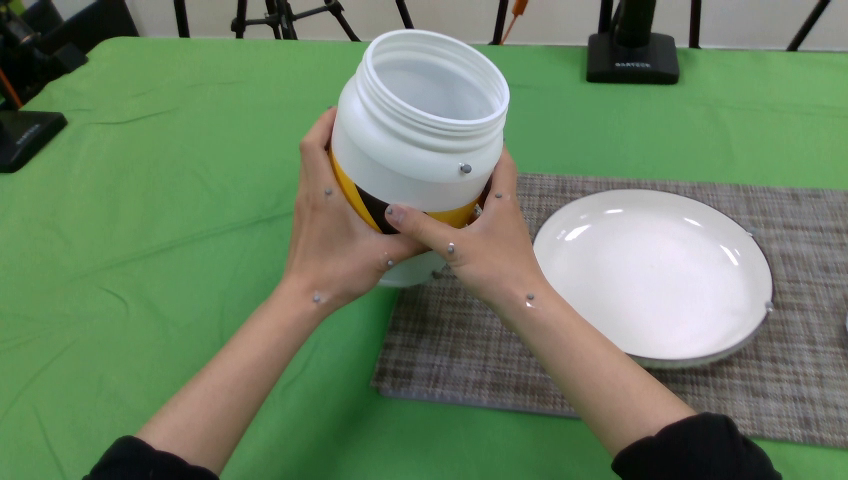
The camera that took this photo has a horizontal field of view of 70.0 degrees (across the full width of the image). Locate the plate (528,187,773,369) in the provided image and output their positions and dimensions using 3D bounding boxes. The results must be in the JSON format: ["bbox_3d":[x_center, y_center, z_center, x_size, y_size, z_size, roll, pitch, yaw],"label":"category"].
[{"bbox_3d":[0.199,0.032,0.550,0.207,0.039,0.205,-3,45,3],"label":"plate"}]

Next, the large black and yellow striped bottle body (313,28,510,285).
[{"bbox_3d":[-0.013,-0.063,0.496,0.131,0.185,0.129,11,48,-13],"label":"large black and yellow striped bottle body"}]

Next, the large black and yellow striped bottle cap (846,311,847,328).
[{"bbox_3d":[0.412,0.079,0.494,0.115,0.019,0.114,-1,47,1],"label":"large black and yellow striped bottle cap"}]
